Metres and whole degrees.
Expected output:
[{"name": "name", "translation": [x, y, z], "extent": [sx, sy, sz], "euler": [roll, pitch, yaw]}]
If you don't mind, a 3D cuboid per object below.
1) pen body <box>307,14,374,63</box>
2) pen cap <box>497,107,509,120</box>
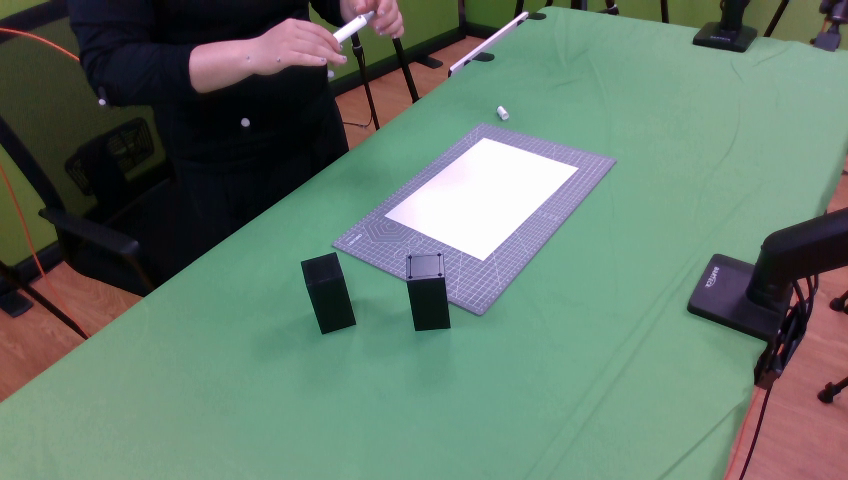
[{"name": "pen body", "translation": [-0.128, -0.320, 0.949], "extent": [0.017, 0.017, 0.144], "euler": [27, 59, 34]}, {"name": "pen cap", "translation": [0.164, -0.264, 1.261], "extent": [0.017, 0.017, 0.038], "euler": [-14, 41, -7]}]
